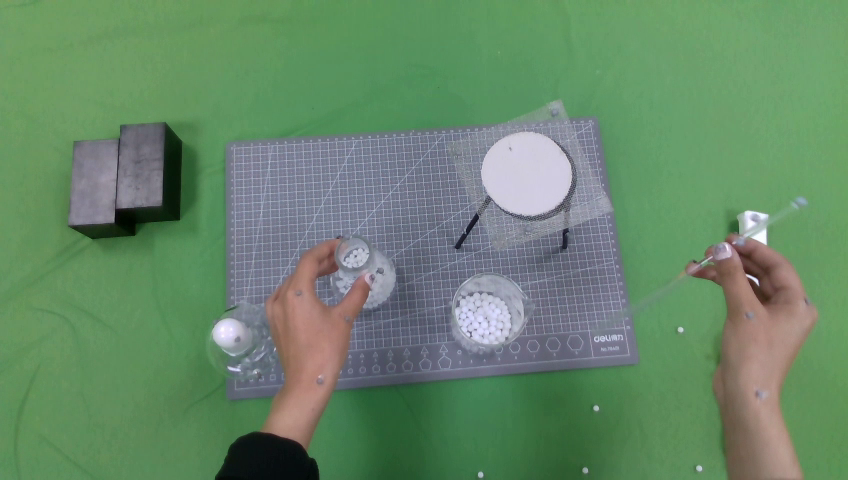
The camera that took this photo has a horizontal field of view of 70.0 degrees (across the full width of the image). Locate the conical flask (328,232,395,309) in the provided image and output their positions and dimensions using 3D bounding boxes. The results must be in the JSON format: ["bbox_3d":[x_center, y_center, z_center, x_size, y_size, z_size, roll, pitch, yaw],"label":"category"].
[{"bbox_3d":[-0.069,0.026,0.628,0.075,0.122,0.075,0,75,-1],"label":"conical flask"}]

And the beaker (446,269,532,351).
[{"bbox_3d":[0.063,0.077,0.630,0.084,0.100,0.073,-6,75,-3],"label":"beaker"}]

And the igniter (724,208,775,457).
[{"bbox_3d":[0.360,0.098,0.671,0.057,0.025,0.275,10,75,-9],"label":"igniter"}]

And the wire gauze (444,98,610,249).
[{"bbox_3d":[0.098,-0.064,0.580,0.125,0.011,0.121,-21,78,-5],"label":"wire gauze"}]

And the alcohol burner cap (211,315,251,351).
[{"bbox_3d":[-0.185,0.086,0.576,0.034,0.048,0.033,2,73,-6],"label":"alcohol burner cap"}]

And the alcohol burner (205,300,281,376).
[{"bbox_3d":[-0.187,0.097,0.611,0.078,0.119,0.077,1,76,-2],"label":"alcohol burner"}]

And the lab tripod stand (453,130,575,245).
[{"bbox_3d":[0.098,-0.046,0.645,0.148,0.132,0.147,0,77,-1],"label":"lab tripod stand"}]

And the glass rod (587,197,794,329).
[{"bbox_3d":[0.219,0.024,0.518,0.200,0.008,0.008,-40,76,28],"label":"glass rod"}]
